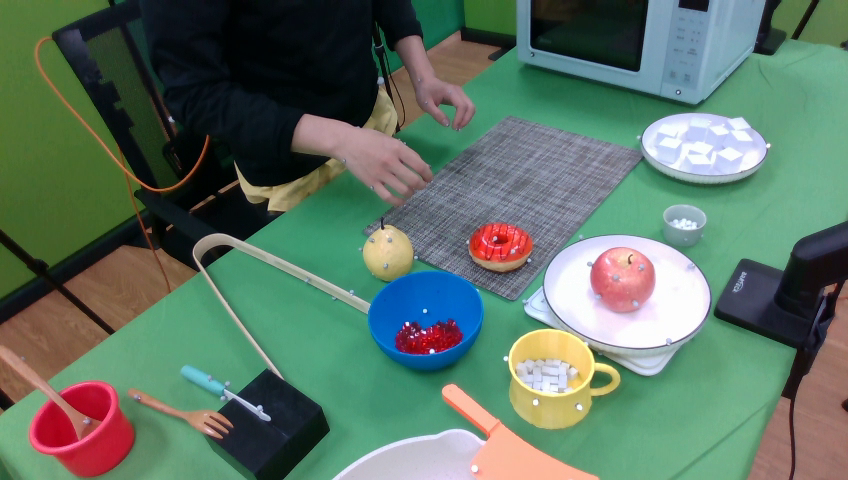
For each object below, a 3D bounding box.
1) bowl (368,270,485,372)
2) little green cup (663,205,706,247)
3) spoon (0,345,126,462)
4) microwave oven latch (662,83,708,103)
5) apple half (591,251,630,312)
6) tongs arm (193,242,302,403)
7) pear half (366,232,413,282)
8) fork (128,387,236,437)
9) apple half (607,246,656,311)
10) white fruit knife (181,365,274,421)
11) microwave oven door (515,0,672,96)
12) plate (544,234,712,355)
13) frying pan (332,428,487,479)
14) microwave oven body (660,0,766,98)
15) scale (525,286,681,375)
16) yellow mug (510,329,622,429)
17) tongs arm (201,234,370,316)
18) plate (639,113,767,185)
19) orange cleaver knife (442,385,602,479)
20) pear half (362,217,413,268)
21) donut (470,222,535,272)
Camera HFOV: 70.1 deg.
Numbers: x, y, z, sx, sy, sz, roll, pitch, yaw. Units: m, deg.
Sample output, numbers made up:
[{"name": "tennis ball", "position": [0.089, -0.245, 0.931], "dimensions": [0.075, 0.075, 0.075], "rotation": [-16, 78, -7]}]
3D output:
[{"name": "bowl", "position": [0.007, 0.118, 0.791], "dimensions": [0.151, 0.077, 0.150], "rotation": [-5, 40, 4]}, {"name": "little green cup", "position": [0.396, -0.020, 0.926], "dimensions": [0.061, 0.039, 0.061], "rotation": [-4, 40, 4]}, {"name": "spoon", "position": [-0.434, 0.192, 0.720], "dimensions": [0.194, 0.021, 0.042], "rotation": [47, 53, -7]}, {"name": "microwave oven latch", "position": [0.517, -0.296, 1.204], "dimensions": [0.078, 0.029, 0.030], "rotation": [28, 52, 35]}, {"name": "apple half", "position": [0.231, 0.057, 0.772], "dimensions": [0.033, 0.081, 0.080], "rotation": [-10, 40, -6]}, {"name": "tongs arm", "position": [-0.268, 0.107, 0.883], "dimensions": [0.028, 0.028, 0.384], "rotation": [-35, 46, -18]}, {"name": "pear half", "position": [-0.048, 0.031, 0.893], "dimensions": [0.071, 0.088, 0.031], "rotation": [-16, 40, -13]}, {"name": "fork", "position": [-0.305, 0.207, 0.744], "dimensions": [0.206, 0.019, 0.028], "rotation": [3, 41, 36]}, {"name": "apple half", "position": [0.269, 0.049, 0.777], "dimensions": [0.053, 0.075, 0.080], "rotation": [-10, 38, -6]}, {"name": "white fruit knife", "position": [-0.246, 0.188, 0.747], "dimensions": [0.205, 0.027, 0.016], "rotation": [9, 41, 40]}, {"name": "microwave oven door", "position": [0.343, -0.455, 1.259], "dimensions": [0.353, 0.245, 0.039], "rotation": [26, 51, 33]}, {"name": "plate", "position": [0.262, 0.072, 0.792], "dimensions": [0.209, 0.038, 0.208], "rotation": [-4, 41, 4]}, {"name": "frying pan", "position": [-0.089, 0.306, 0.564], "dimensions": [0.487, 0.103, 0.306], "rotation": [9, 41, 7]}, {"name": "microwave oven body", "position": [0.472, -0.513, 1.317], "dimensions": [0.438, 0.261, 0.327], "rotation": [26, 51, 34]}, {"name": "scale", "position": [0.254, 0.091, 0.821], "dimensions": [0.199, 0.032, 0.149], "rotation": [28, 51, 35]}, {"name": "yellow mug", "position": [0.168, 0.164, 0.721], "dimensions": [0.130, 0.064, 0.099], "rotation": [0, 40, 8]}, {"name": "tongs arm", "position": [-0.209, 0.061, 0.924], "dimensions": [0.381, 0.026, 0.051], "rotation": [23, 53, 33]}, {"name": "plate", "position": [0.489, -0.157, 1.074], "dimensions": [0.207, 0.039, 0.206], "rotation": [-4, 40, 4]}, {"name": "orange cleaver knife", "position": [0.086, 0.219, 0.612], "dimensions": [0.209, 0.012, 0.077], "rotation": [28, 49, 35]}, {"name": "pear half", "position": [-0.058, 0.002, 0.913], "dimensions": [0.076, 0.110, 0.055], "rotation": [-14, 40, -13]}, {"name": "donut", "position": [0.119, 0.009, 0.923], "dimensions": [0.099, 0.048, 0.098], "rotation": [-4, 38, 3]}]
